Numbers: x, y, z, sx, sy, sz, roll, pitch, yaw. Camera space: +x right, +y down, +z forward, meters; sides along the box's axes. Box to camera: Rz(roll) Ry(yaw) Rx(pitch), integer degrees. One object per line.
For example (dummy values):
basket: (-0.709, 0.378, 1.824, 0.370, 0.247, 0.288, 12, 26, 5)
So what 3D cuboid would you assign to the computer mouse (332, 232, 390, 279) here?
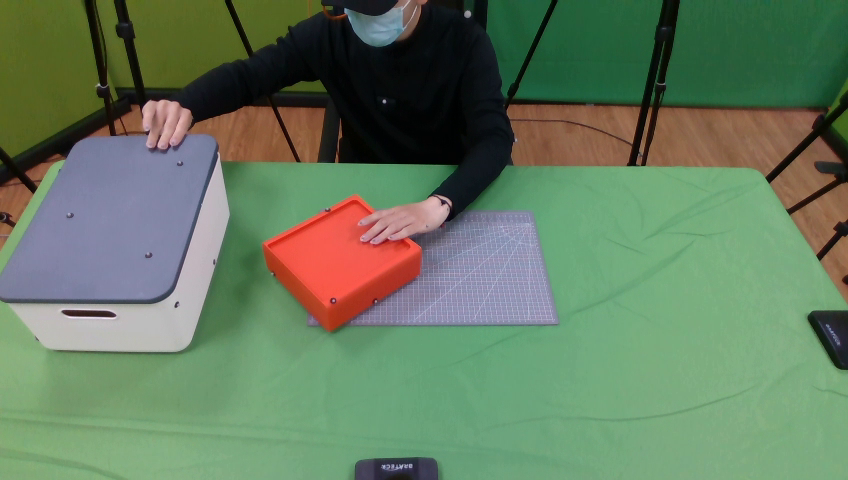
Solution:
computer mouse: (-0.120, 0.023, 1.143, 0.063, 0.041, 0.116, -35, 51, -27)

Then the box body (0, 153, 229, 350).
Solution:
box body: (-0.502, 0.008, 1.054, 0.254, 0.161, 0.361, 1, 46, -3)

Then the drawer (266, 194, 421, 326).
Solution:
drawer: (-0.146, 0.032, 1.113, 0.212, 0.073, 0.193, -33, 57, -29)

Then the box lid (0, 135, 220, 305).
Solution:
box lid: (-0.498, -0.050, 0.993, 0.263, 0.015, 0.369, 0, 50, -1)

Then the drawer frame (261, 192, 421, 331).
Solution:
drawer frame: (-0.148, 0.032, 1.110, 0.213, 0.083, 0.200, -33, 57, -29)
